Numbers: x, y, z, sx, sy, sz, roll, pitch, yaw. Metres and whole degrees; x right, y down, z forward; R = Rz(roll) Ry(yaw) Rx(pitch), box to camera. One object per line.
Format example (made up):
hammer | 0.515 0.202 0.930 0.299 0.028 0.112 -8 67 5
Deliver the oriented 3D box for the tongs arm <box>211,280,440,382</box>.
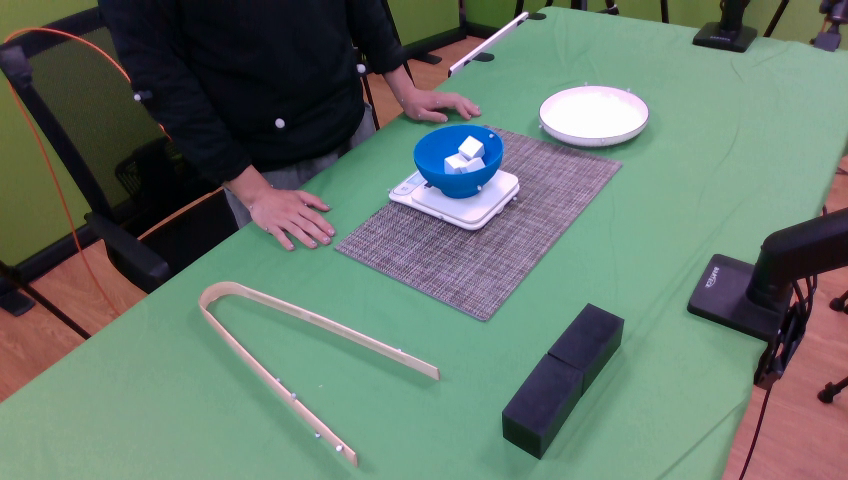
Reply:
tongs arm | -0.148 0.121 0.846 0.385 0.028 0.028 17 48 25

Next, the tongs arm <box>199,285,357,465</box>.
tongs arm | -0.199 0.162 0.797 0.381 0.026 0.051 28 49 35

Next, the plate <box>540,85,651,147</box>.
plate | 0.333 -0.238 1.185 0.207 0.039 0.206 -4 41 4

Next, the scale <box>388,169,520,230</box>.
scale | 0.050 -0.090 1.051 0.199 0.032 0.149 24 49 31

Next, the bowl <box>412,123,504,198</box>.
bowl | 0.060 -0.123 1.007 0.151 0.077 0.150 -5 41 5
